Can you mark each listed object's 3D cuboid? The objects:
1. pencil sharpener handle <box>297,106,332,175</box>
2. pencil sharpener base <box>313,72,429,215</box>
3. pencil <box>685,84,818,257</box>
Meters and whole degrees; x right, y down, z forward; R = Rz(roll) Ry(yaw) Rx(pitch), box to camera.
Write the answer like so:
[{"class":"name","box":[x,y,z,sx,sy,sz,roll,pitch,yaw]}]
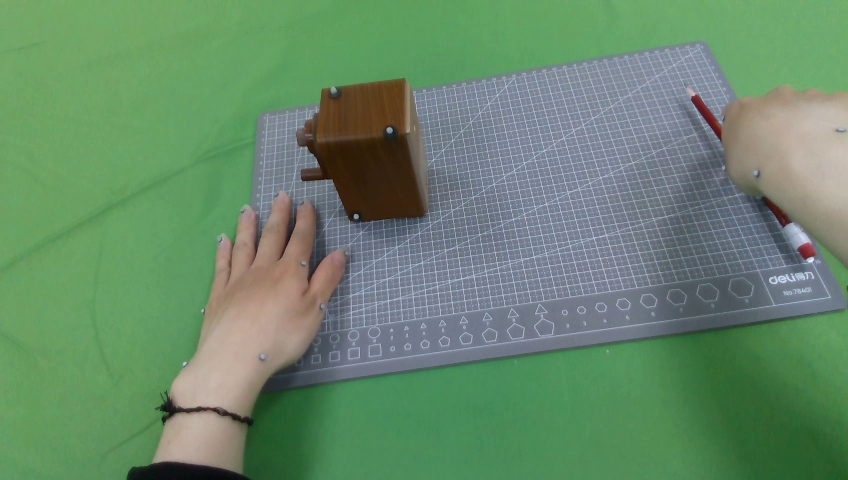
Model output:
[{"class":"pencil sharpener handle","box":[-0.092,-0.076,0.488,0.030,0.068,0.035,-5,56,6]},{"class":"pencil sharpener base","box":[-0.040,-0.074,0.493,0.076,0.108,0.061,-5,57,6]},{"class":"pencil","box":[0.260,-0.065,0.494,0.012,0.012,0.192,-16,56,-2]}]
